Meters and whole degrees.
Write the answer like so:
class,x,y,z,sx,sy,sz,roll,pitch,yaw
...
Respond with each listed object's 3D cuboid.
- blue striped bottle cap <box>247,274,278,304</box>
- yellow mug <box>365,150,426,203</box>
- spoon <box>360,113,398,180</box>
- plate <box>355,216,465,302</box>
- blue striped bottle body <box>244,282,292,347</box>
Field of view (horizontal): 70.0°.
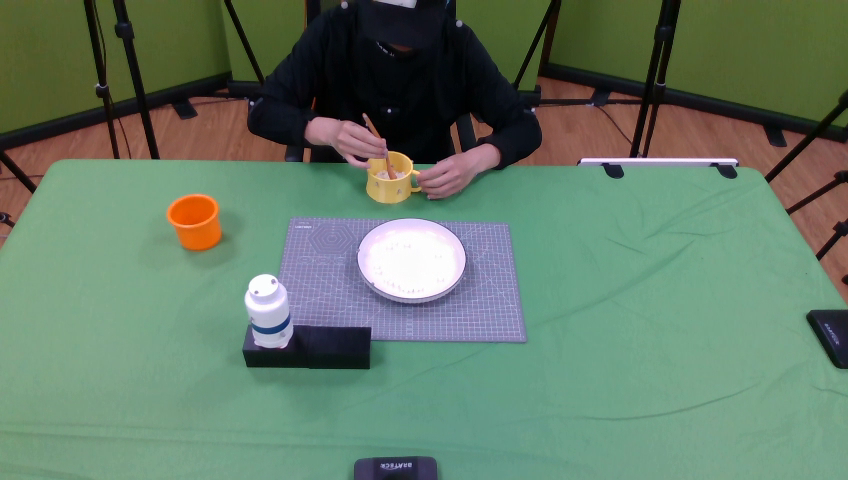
class,x,y,z,sx,sy,sz,roll,pitch,yaw
blue striped bottle cap,-0.239,0.072,0.900,0.044,0.021,0.044,4,46,-4
yellow mug,-0.061,-0.133,1.291,0.131,0.064,0.099,9,46,3
spoon,-0.085,-0.181,1.239,0.021,0.195,0.041,-19,39,6
plate,-0.027,0.039,1.144,0.208,0.039,0.206,2,46,-2
blue striped bottle body,-0.241,0.108,0.937,0.063,0.121,0.062,2,46,-2
